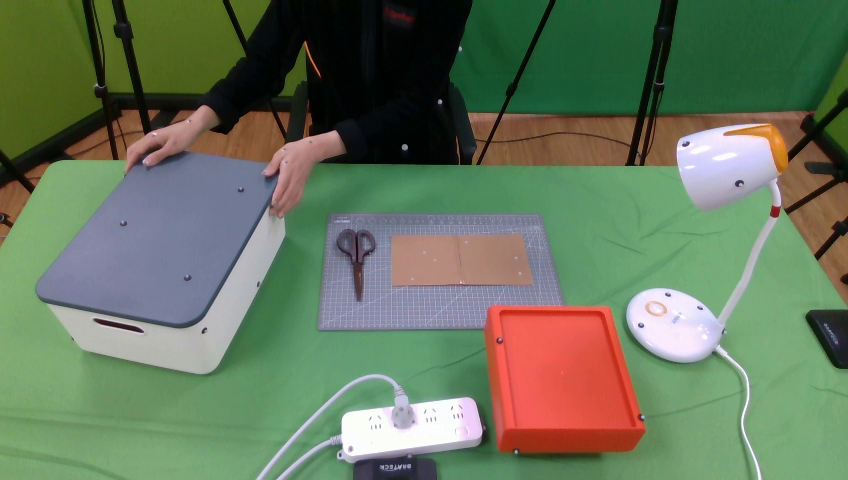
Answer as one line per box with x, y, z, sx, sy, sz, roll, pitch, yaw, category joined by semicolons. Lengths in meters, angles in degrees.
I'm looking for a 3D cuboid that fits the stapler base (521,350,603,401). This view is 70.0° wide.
0.217;0.203;0.942;0.130;0.024;0.041;26;33;16;stapler base

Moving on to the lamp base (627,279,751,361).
0.460;0.100;1.027;0.178;0.181;0.160;27;51;17;lamp base

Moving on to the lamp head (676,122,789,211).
0.423;-0.104;0.819;0.122;0.113;0.112;-13;33;40;lamp head

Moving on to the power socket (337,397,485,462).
-0.018;0.285;0.915;0.227;0.033;0.071;-4;46;-8;power socket

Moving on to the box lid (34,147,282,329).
-0.411;-0.024;0.987;0.263;0.015;0.369;10;46;5;box lid

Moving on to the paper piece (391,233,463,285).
0.003;0.035;1.170;0.135;0.004;0.135;1;46;-4;paper piece

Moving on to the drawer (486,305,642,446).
0.202;0.200;0.919;0.195;0.073;0.210;2;47;-4;drawer

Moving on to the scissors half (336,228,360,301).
-0.139;0.044;1.144;0.040;0.013;0.174;7;47;-28;scissors half

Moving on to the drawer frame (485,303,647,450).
0.204;0.202;0.917;0.202;0.083;0.212;1;47;-4;drawer frame

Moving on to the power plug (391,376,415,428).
-0.031;0.249;0.917;0.035;0.053;0.072;3;46;-1;power plug

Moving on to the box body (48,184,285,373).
-0.414;0.029;1.040;0.254;0.161;0.362;10;46;5;box body

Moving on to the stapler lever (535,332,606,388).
0.225;0.181;0.928;0.118;0.040;0.027;27;34;15;stapler lever

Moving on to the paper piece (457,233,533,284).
0.136;0.035;1.182;0.136;0.009;0.137;2;45;-6;paper piece

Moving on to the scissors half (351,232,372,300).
-0.121;0.049;1.153;0.040;0.013;0.174;24;40;-20;scissors half
